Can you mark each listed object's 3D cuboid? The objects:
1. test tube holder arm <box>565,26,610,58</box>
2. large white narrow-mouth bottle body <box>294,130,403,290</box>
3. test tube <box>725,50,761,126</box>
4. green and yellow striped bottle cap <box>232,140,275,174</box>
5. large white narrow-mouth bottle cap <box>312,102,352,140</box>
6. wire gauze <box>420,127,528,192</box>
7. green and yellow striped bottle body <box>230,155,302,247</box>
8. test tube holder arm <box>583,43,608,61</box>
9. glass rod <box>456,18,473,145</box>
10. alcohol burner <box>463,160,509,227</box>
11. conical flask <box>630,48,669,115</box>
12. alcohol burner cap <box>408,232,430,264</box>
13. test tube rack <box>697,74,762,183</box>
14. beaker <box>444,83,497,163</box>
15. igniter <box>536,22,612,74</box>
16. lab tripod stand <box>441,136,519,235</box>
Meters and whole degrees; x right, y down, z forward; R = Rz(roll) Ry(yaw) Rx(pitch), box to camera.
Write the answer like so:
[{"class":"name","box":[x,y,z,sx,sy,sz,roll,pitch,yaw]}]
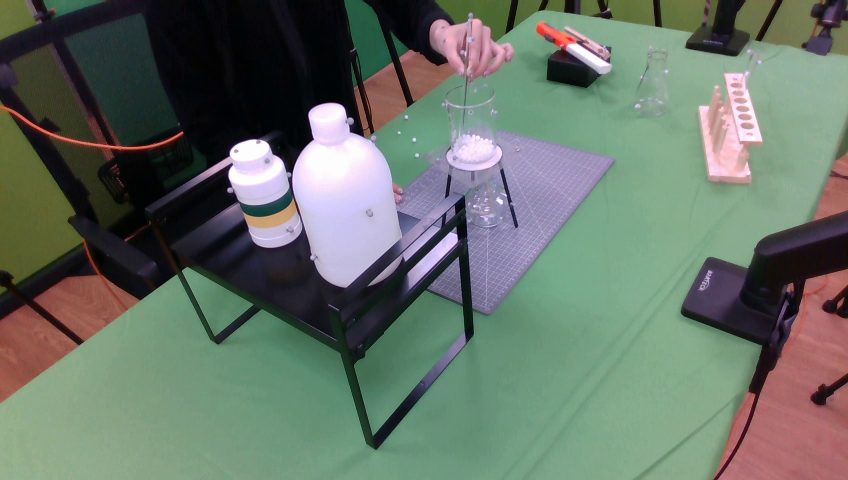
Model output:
[{"class":"test tube holder arm","box":[0.369,-0.451,1.373,0.013,0.015,0.177,-39,41,10]},{"class":"large white narrow-mouth bottle body","box":[-0.082,-0.047,0.634,0.102,0.195,0.101,-4,39,3]},{"class":"test tube","box":[0.570,-0.269,1.086,0.017,0.151,0.017,-1,45,1]},{"class":"green and yellow striped bottle cap","box":[-0.192,-0.093,0.680,0.045,0.020,0.045,-5,39,5]},{"class":"large white narrow-mouth bottle cap","box":[-0.088,-0.114,0.579,0.038,0.024,0.037,-3,39,3]},{"class":"wire gauze","box":[0.076,-0.131,0.927,0.122,0.011,0.124,-34,49,-25]},{"class":"green and yellow striped bottle body","box":[-0.188,-0.055,0.714,0.063,0.120,0.063,-4,40,4]},{"class":"test tube holder arm","box":[0.379,-0.420,1.341,0.010,0.015,0.087,-39,41,10]},{"class":"glass rod","box":[0.058,-0.222,0.872,0.008,0.200,0.008,2,43,-2]},{"class":"alcohol burner","box":[0.102,-0.081,0.982,0.078,0.119,0.077,-4,43,4]},{"class":"conical flask","box":[0.456,-0.317,1.205,0.075,0.122,0.075,-4,41,4]},{"class":"alcohol burner cap","box":[-0.010,0.010,0.947,0.034,0.048,0.033,-4,41,4]},{"class":"test tube rack","box":[0.547,-0.208,1.095,0.066,0.085,0.242,5,42,15]},{"class":"beaker","box":[0.073,-0.175,0.905,0.074,0.101,0.084,3,41,13]},{"class":"igniter","box":[0.330,-0.438,1.366,0.057,0.025,0.274,-11,41,-19]},{"class":"lab tripod stand","box":[0.083,-0.086,0.976,0.148,0.132,0.147,-4,42,4]}]
